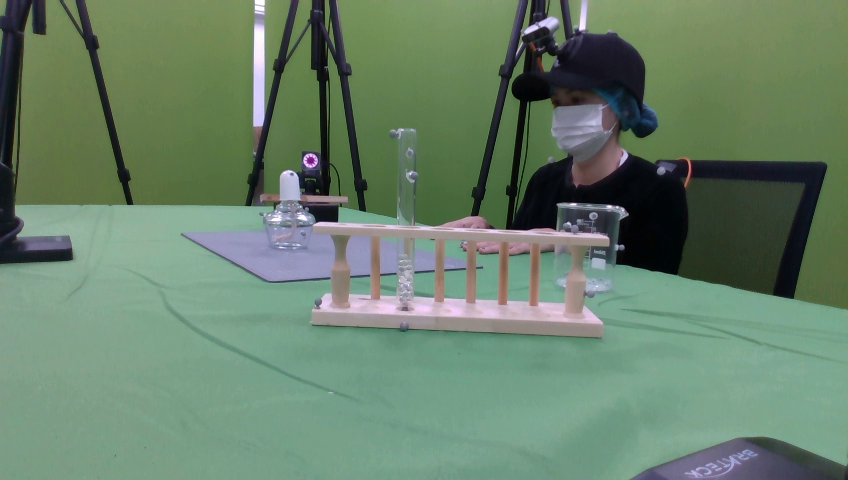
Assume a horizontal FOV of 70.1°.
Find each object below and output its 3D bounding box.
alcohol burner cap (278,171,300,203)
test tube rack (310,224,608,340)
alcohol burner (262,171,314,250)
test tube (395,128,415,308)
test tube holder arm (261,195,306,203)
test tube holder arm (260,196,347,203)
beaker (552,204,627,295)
[{"bbox_3d":[-0.203,-0.080,0.909,0.034,0.048,0.034,-1,3,0],"label":"alcohol burner cap"},{"bbox_3d":[0.028,0.032,0.528,0.242,0.085,0.067,3,7,0],"label":"test tube rack"},{"bbox_3d":[-0.205,-0.045,0.913,0.078,0.119,0.078,1,9,0],"label":"alcohol burner"},{"bbox_3d":[-0.016,-0.016,0.502,0.017,0.150,0.017,1,10,0],"label":"test tube"},{"bbox_3d":[-0.275,-0.081,1.184,0.088,0.015,0.010,-1,0,-32],"label":"test tube holder arm"},{"bbox_3d":[-0.239,-0.082,1.213,0.179,0.015,0.013,-1,0,-32],"label":"test tube holder arm"},{"bbox_3d":[0.191,0.010,0.708,0.083,0.100,0.074,8,9,33],"label":"beaker"}]
